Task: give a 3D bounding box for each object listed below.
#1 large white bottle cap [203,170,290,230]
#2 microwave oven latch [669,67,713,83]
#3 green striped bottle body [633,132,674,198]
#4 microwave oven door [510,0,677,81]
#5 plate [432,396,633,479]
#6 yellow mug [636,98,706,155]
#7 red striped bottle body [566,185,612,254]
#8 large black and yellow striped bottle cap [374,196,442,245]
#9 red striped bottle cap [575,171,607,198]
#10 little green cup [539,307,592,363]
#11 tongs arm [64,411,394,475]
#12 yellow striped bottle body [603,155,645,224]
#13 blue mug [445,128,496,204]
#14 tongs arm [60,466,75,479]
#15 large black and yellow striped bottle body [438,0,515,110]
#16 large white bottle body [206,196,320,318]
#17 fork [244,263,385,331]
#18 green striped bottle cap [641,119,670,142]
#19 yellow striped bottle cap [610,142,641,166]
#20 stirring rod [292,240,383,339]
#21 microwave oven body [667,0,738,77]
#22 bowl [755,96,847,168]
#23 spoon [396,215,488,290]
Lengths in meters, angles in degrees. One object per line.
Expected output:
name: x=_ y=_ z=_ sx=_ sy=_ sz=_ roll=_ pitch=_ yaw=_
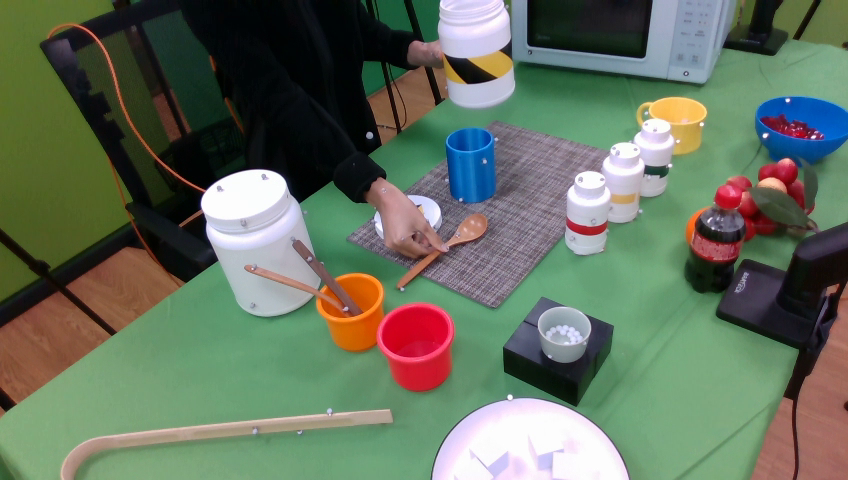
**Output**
large white bottle cap: x=-0.241 y=-0.057 z=0.822 sx=0.115 sy=0.018 sz=0.114 roll=-4 pitch=40 yaw=4
microwave oven latch: x=0.556 y=-0.349 z=1.261 sx=0.078 sy=0.029 sz=0.030 roll=16 pitch=46 yaw=27
green striped bottle body: x=0.376 y=-0.135 z=1.001 sx=0.063 sy=0.120 sz=0.063 roll=-5 pitch=40 yaw=5
microwave oven door: x=0.354 y=-0.478 z=1.290 sx=0.353 sy=0.245 sz=0.039 roll=15 pitch=45 yaw=25
plate: x=0.112 y=0.261 z=0.634 sx=0.209 sy=0.038 sz=0.208 roll=-5 pitch=40 yaw=4
yellow mug: x=0.453 y=-0.217 z=1.128 sx=0.100 sy=0.064 sz=0.129 roll=-34 pitch=46 yaw=-27
red striped bottle body: x=0.248 y=-0.041 z=0.910 sx=0.063 sy=0.120 sz=0.062 roll=-4 pitch=41 yaw=4
large black and yellow striped bottle cap: x=-0.027 y=-0.035 z=1.021 sx=0.115 sy=0.019 sz=0.114 roll=-4 pitch=41 yaw=4
red striped bottle cap: x=0.242 y=-0.082 z=0.876 sx=0.044 sy=0.018 sz=0.044 roll=-5 pitch=44 yaw=5
little green cup: x=0.168 y=0.115 z=0.721 sx=0.061 sy=0.039 sz=0.061 roll=-4 pitch=42 yaw=4
tongs arm: x=-0.228 y=0.240 z=0.715 sx=0.385 sy=0.026 sz=0.050 roll=-4 pitch=43 yaw=5
yellow striped bottle body: x=0.314 y=-0.090 z=0.957 sx=0.063 sy=0.121 sz=0.062 roll=-4 pitch=40 yaw=4
blue mug: x=0.083 y=-0.139 z=1.058 sx=0.082 sy=0.106 sz=0.116 roll=-2 pitch=40 yaw=7
tongs arm: x=-0.239 y=0.301 z=0.649 sx=0.386 sy=0.028 sz=0.028 roll=6 pitch=49 yaw=17
large black and yellow striped bottle body: x=0.097 y=-0.349 z=1.113 sx=0.130 sy=0.185 sz=0.130 roll=-8 pitch=40 yaw=7
large white bottle body: x=-0.233 y=0.008 z=0.876 sx=0.130 sy=0.185 sz=0.130 roll=-4 pitch=40 yaw=4
fork: x=-0.142 y=0.077 z=0.807 sx=0.209 sy=0.018 sz=0.028 roll=30 pitch=44 yaw=-24
green striped bottle cap: x=0.371 y=-0.175 z=0.968 sx=0.044 sy=0.020 sz=0.044 roll=-6 pitch=42 yaw=6
yellow striped bottle cap: x=0.308 y=-0.131 z=0.925 sx=0.044 sy=0.019 sz=0.044 roll=-4 pitch=45 yaw=4
stirring rod: x=-0.118 y=0.068 z=0.826 sx=0.176 sy=0.006 sz=0.014 roll=49 pitch=59 yaw=-4
microwave oven body: x=0.462 y=-0.552 z=1.369 sx=0.439 sy=0.261 sz=0.326 roll=15 pitch=45 yaw=26
bowl: x=0.645 y=-0.177 z=1.041 sx=0.151 sy=0.077 sz=0.150 roll=-5 pitch=40 yaw=4
spoon: x=0.028 y=0.018 z=0.947 sx=0.194 sy=0.022 sz=0.041 roll=-35 pitch=66 yaw=-28
